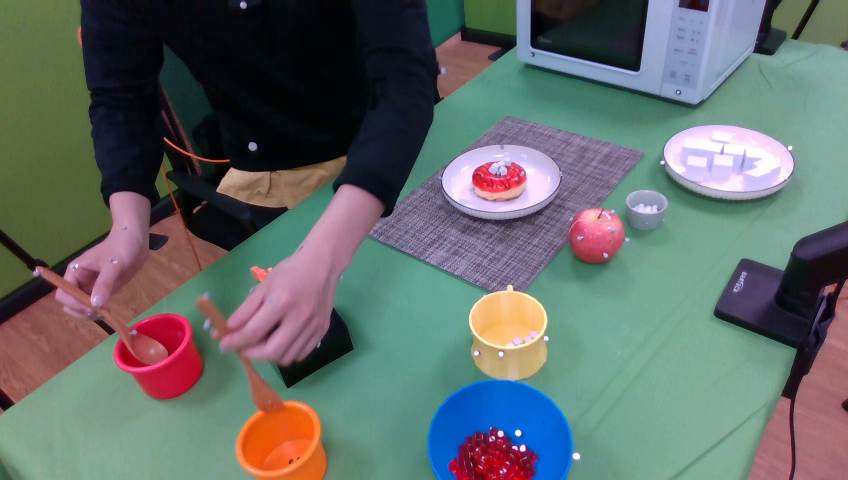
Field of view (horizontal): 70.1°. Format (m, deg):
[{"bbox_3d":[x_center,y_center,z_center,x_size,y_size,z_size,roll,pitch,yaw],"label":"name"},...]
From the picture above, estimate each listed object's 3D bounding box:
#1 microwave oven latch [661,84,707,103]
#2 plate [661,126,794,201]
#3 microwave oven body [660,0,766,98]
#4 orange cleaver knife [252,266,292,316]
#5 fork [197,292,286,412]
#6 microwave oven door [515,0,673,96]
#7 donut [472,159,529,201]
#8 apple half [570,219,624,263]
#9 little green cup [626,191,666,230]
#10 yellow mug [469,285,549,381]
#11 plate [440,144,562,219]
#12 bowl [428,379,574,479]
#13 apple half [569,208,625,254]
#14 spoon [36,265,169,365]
[{"bbox_3d":[0.517,-0.296,1.204,0.078,0.029,0.030,26,51,34],"label":"microwave oven latch"},{"bbox_3d":[0.514,-0.127,1.035,0.207,0.039,0.206,-4,40,4],"label":"plate"},{"bbox_3d":[0.473,-0.513,1.317,0.438,0.261,0.327,26,51,34],"label":"microwave oven body"},{"bbox_3d":[-0.221,0.071,0.874,0.012,0.077,0.210,-25,11,-21],"label":"orange cleaver knife"},{"bbox_3d":[-0.180,0.120,0.607,0.028,0.208,0.018,-15,41,-1],"label":"fork"},{"bbox_3d":[0.344,-0.454,1.259,0.353,0.245,0.039,26,51,33],"label":"microwave oven door"},{"bbox_3d":[0.132,-0.105,1.043,0.099,0.048,0.098,-5,37,4],"label":"donut"},{"bbox_3d":[0.250,0.010,0.885,0.081,0.081,0.033,7,39,17],"label":"apple half"},{"bbox_3d":[0.352,-0.046,0.963,0.061,0.039,0.061,-4,40,4],"label":"little green cup"},{"bbox_3d":[0.113,0.112,0.792,0.100,0.064,0.130,-1,40,9],"label":"yellow mug"},{"bbox_3d":[0.134,-0.098,1.051,0.209,0.038,0.208,-4,40,4],"label":"plate"},{"bbox_3d":[0.082,0.233,0.644,0.151,0.077,0.150,-4,39,4],"label":"bowl"},{"bbox_3d":[0.262,-0.014,0.913,0.080,0.075,0.053,4,37,19],"label":"apple half"},{"bbox_3d":[-0.396,0.094,0.754,0.021,0.195,0.041,-25,33,18],"label":"spoon"}]
